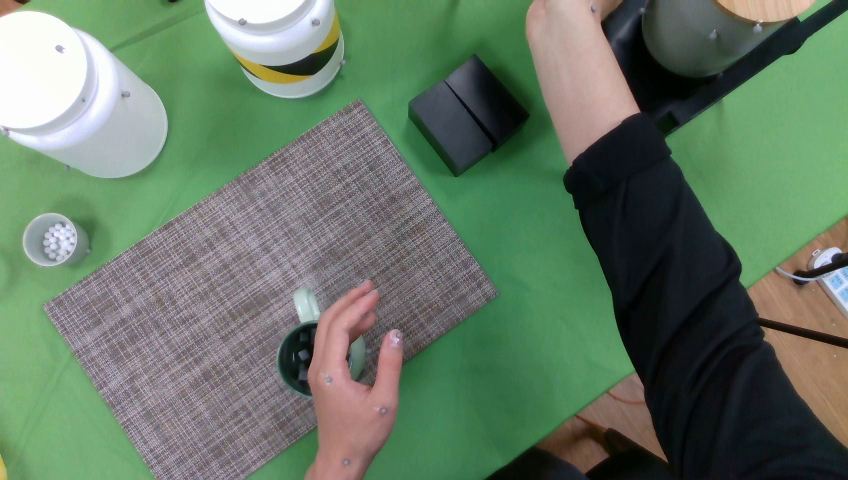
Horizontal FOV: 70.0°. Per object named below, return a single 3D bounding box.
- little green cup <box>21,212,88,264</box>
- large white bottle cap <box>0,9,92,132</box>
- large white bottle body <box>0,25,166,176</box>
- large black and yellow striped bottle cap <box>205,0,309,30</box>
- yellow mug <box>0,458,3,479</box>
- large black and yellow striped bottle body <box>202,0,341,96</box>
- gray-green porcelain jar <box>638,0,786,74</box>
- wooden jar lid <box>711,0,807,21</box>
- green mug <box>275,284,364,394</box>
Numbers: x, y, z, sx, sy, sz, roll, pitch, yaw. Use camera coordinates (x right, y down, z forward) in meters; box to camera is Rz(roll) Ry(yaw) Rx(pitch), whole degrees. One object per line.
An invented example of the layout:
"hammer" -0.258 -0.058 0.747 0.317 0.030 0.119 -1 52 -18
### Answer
"little green cup" -0.428 0.000 0.708 0.061 0.038 0.061 0 85 -3
"large white bottle cap" -0.373 -0.159 0.568 0.115 0.018 0.114 0 85 -3
"large white bottle body" -0.377 -0.150 0.652 0.131 0.185 0.130 0 84 -2
"large black and yellow striped bottle cap" -0.164 -0.263 0.590 0.115 0.019 0.114 0 84 -4
"yellow mug" -0.530 0.284 0.659 0.100 0.064 0.130 -2 85 -3
"large black and yellow striped bottle body" -0.166 -0.252 0.674 0.131 0.184 0.130 0 84 -2
"gray-green porcelain jar" 0.258 -0.216 0.538 0.106 0.126 0.105 0 83 -2
"wooden jar lid" 0.259 -0.223 0.477 0.108 0.021 0.108 0 86 -4
"green mug" -0.121 0.109 0.674 0.092 0.105 0.125 -18 84 -4
